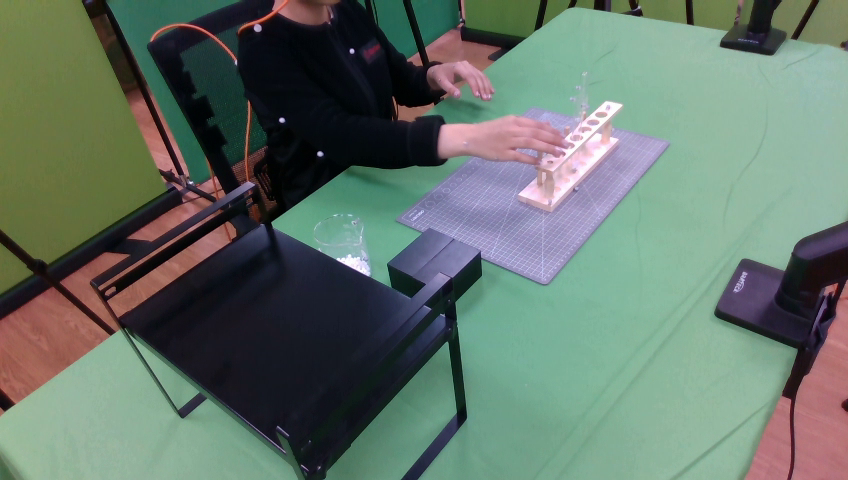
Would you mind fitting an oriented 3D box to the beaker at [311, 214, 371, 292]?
[{"bbox_3d":[-0.118,0.022,0.908,0.083,0.101,0.074,26,51,32],"label":"beaker"}]

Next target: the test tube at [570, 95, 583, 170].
[{"bbox_3d":[0.256,-0.176,1.013,0.017,0.151,0.017,-5,47,6],"label":"test tube"}]

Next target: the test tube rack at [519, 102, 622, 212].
[{"bbox_3d":[0.260,-0.155,1.065,0.066,0.085,0.243,24,50,32],"label":"test tube rack"}]

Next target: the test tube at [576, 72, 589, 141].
[{"bbox_3d":[0.284,-0.233,1.084,0.017,0.151,0.017,-5,44,6],"label":"test tube"}]
